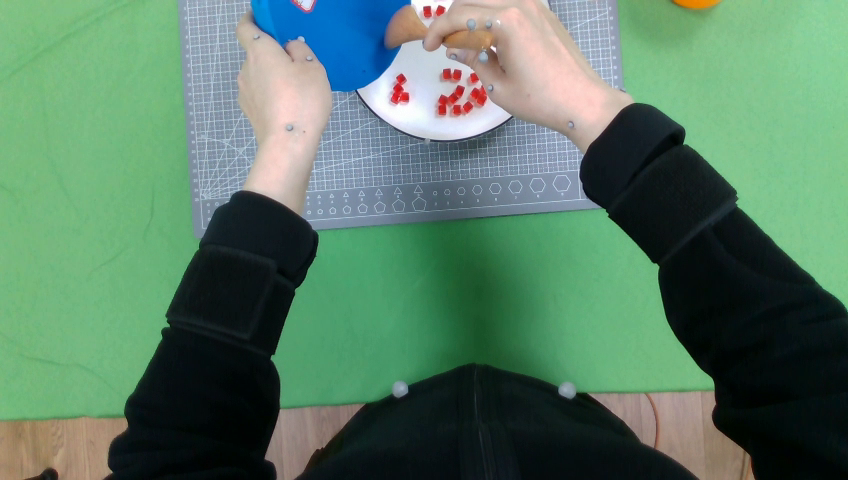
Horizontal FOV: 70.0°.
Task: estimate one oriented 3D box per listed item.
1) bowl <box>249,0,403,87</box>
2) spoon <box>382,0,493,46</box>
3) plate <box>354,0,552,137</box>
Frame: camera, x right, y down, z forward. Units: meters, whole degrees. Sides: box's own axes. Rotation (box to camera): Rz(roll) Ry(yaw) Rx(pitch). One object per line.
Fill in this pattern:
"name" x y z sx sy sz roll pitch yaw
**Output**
"bowl" -0.091 -0.210 0.506 0.076 0.153 0.151 23 91 38
"spoon" 0.007 -0.161 0.457 0.022 0.191 0.041 27 98 -34
"plate" 0.021 -0.205 0.602 0.209 0.038 0.209 0 90 3
